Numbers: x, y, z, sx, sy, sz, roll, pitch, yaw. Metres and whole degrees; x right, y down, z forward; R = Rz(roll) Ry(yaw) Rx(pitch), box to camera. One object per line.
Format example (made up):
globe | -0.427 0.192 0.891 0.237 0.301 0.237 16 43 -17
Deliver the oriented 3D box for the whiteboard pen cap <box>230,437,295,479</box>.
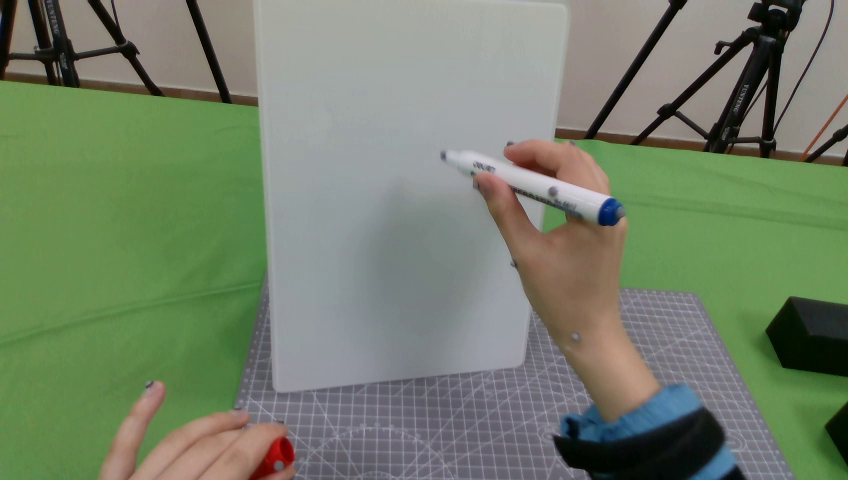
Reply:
whiteboard pen cap | -0.087 0.120 0.327 0.032 0.017 0.017 -26 44 6

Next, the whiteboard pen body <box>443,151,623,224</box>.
whiteboard pen body | 0.056 -0.036 0.358 0.017 0.017 0.139 -21 31 -32

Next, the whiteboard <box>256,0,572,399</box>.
whiteboard | -0.022 -0.046 0.512 0.218 0.307 0.142 -2 22 -14
